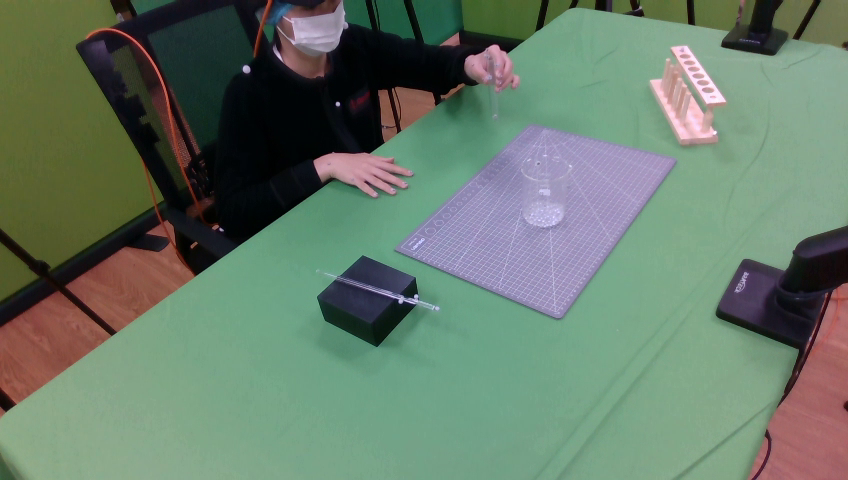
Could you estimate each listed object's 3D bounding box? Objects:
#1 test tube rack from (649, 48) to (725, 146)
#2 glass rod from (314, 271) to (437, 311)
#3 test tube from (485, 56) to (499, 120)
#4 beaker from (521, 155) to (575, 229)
[{"bbox_3d":[0.508,-0.285,1.186,0.067,0.085,0.241,-4,40,6],"label":"test tube rack"},{"bbox_3d":[-0.071,0.069,0.837,0.198,0.008,0.008,14,44,24],"label":"glass rod"},{"bbox_3d":[0.122,-0.267,1.078,0.017,0.151,0.017,-4,59,8],"label":"test tube"},{"bbox_3d":[0.197,-0.075,0.969,0.084,0.101,0.073,-6,40,2],"label":"beaker"}]
